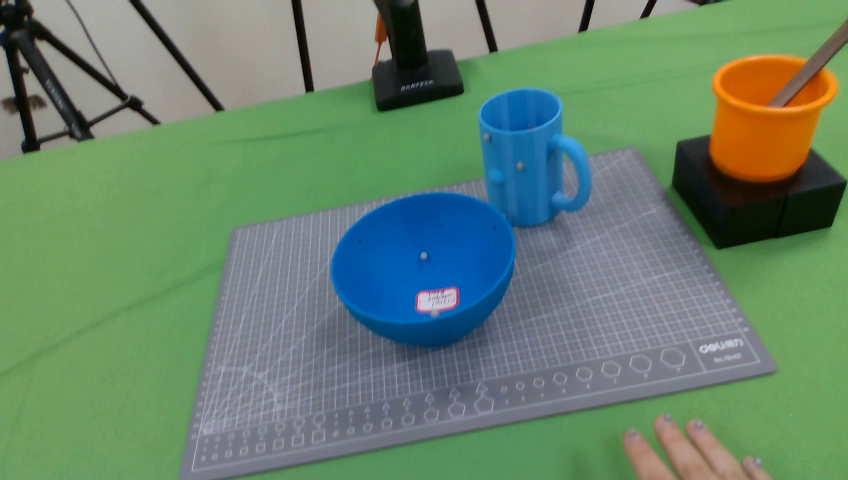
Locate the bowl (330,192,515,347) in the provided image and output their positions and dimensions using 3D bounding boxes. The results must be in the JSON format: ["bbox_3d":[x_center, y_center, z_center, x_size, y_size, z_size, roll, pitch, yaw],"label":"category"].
[{"bbox_3d":[0.004,0.036,0.507,0.151,0.077,0.150,-7,42,7],"label":"bowl"}]

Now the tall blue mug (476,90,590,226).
[{"bbox_3d":[0.108,-0.076,0.580,0.107,0.109,0.077,6,44,20],"label":"tall blue mug"}]

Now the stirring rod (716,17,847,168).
[{"bbox_3d":[0.308,-0.131,0.497,0.176,0.006,0.014,-52,40,20],"label":"stirring rod"}]
